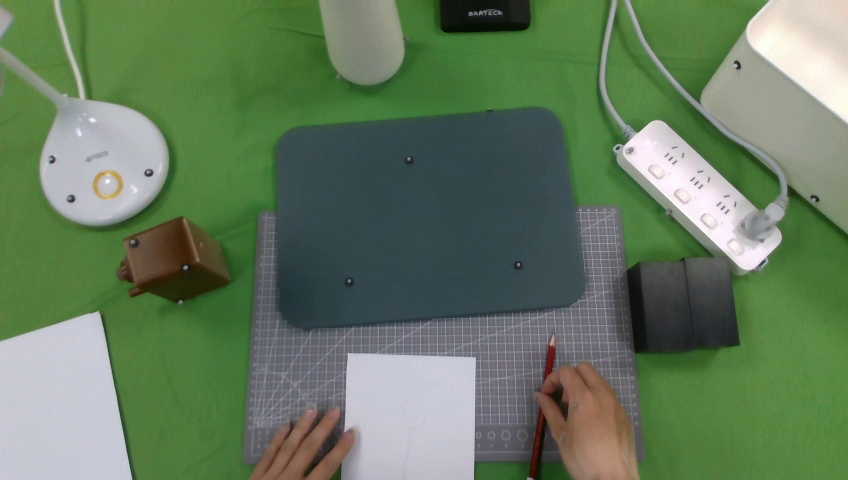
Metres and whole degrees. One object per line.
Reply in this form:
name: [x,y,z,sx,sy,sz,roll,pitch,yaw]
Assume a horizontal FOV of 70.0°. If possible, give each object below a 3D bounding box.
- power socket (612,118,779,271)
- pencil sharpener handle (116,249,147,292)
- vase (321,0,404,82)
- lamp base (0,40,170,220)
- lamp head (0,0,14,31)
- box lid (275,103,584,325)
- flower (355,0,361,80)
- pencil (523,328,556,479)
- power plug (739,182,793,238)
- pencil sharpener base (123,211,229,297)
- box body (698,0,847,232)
power socket: [0.330,-0.057,0.739,0.072,0.033,0.225,-40,78,-9]
pencil sharpener handle: [-0.327,0.038,0.673,0.030,0.068,0.035,-21,63,-4]
vase: [-0.074,-0.272,0.714,0.098,0.201,0.097,0,74,0]
lamp base: [-0.410,-0.131,0.692,0.160,0.181,0.178,-31,75,-7]
lamp head: [-0.374,-0.162,0.415,0.112,0.124,0.111,-26,41,26]
box lid: [0.003,-0.037,0.749,0.372,0.015,0.262,-5,76,0]
flower: [-0.067,-0.307,0.638,0.044,0.364,0.038,-25,64,-22]
pencil: [0.132,0.194,0.688,0.012,0.012,0.193,13,76,5]
power plug: [0.402,-0.029,0.708,0.072,0.053,0.035,-29,74,-11]
pencil sharpener base: [-0.281,0.020,0.690,0.077,0.107,0.061,-21,76,-4]
box body: [0.542,-0.158,0.695,0.254,0.161,0.362,-44,79,-9]
